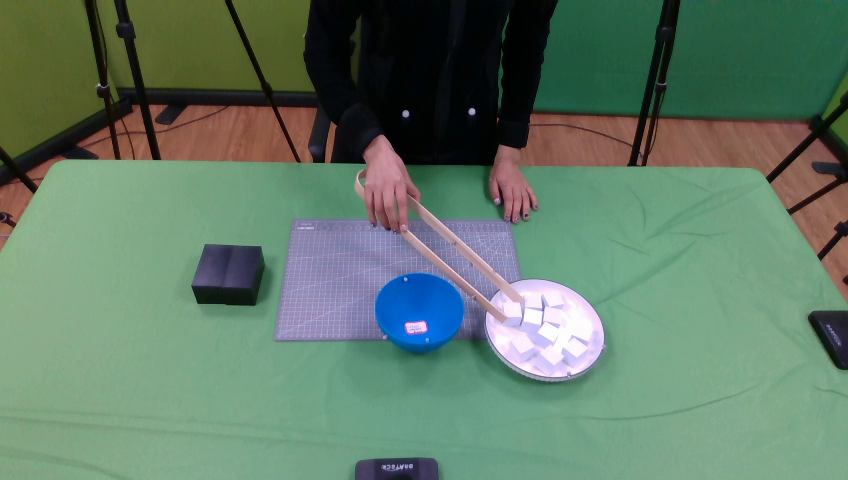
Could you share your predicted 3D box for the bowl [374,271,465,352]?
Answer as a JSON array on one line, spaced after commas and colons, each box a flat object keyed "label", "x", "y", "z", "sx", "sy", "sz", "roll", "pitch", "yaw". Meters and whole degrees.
[{"label": "bowl", "x": -0.009, "y": 0.136, "z": 1.024, "sx": 0.151, "sy": 0.077, "sz": 0.150, "roll": 2, "pitch": 47, "yaw": -2}]

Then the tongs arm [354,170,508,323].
[{"label": "tongs arm", "x": 0.003, "y": 0.009, "z": 1.079, "sx": 0.386, "sy": 0.028, "sz": 0.028, "roll": 43, "pitch": 57, "yaw": 15}]

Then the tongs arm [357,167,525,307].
[{"label": "tongs arm", "x": 0.025, "y": -0.008, "z": 1.099, "sx": 0.383, "sy": 0.026, "sz": 0.051, "roll": 44, "pitch": 54, "yaw": 16}]

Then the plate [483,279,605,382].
[{"label": "plate", "x": 0.204, "y": 0.158, "z": 1.046, "sx": 0.208, "sy": 0.039, "sz": 0.206, "roll": 3, "pitch": 47, "yaw": -3}]
